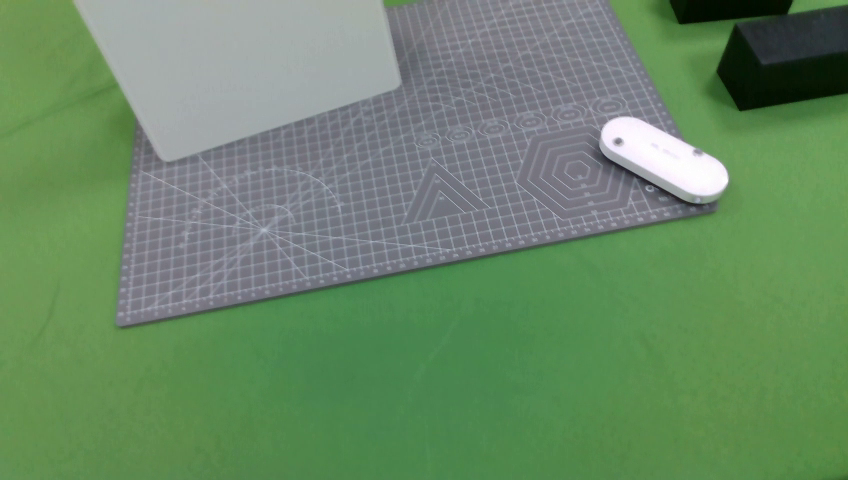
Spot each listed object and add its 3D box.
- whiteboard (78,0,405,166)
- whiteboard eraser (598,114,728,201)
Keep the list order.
[{"bbox_3d":[-0.165,-0.253,0.480,0.217,0.308,0.142,-20,39,-7],"label":"whiteboard"},{"bbox_3d":[0.182,-0.064,0.466,0.100,0.019,0.041,36,68,25],"label":"whiteboard eraser"}]
